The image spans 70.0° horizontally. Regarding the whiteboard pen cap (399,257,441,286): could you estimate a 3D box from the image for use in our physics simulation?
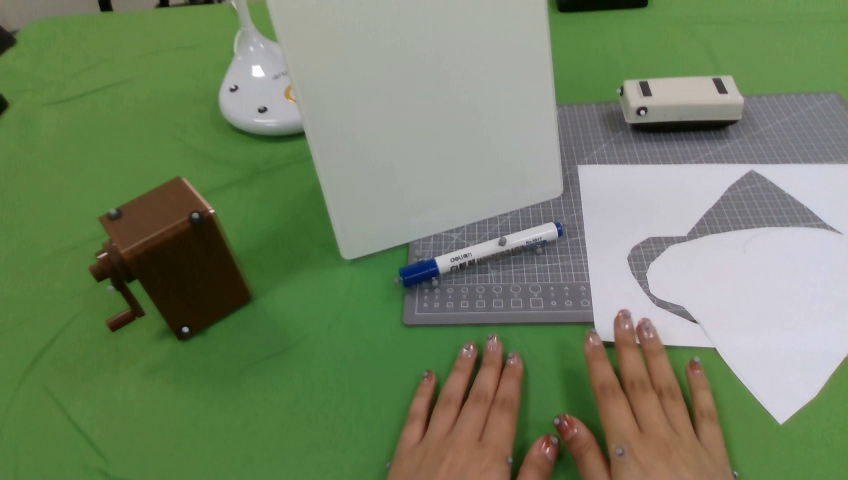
[{"bbox_3d":[-0.003,0.026,0.506,0.033,0.018,0.018,-18,47,-8],"label":"whiteboard pen cap"}]

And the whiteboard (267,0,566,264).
[{"bbox_3d":[-0.014,-0.170,0.541,0.217,0.308,0.142,-17,28,-8],"label":"whiteboard"}]

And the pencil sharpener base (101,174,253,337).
[{"bbox_3d":[-0.194,0.016,0.482,0.076,0.108,0.061,-34,52,-23],"label":"pencil sharpener base"}]

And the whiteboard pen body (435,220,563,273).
[{"bbox_3d":[0.053,0.008,0.515,0.141,0.017,0.017,-17,47,-8],"label":"whiteboard pen body"}]

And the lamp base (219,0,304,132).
[{"bbox_3d":[-0.177,-0.237,0.669,0.177,0.182,0.160,31,57,34],"label":"lamp base"}]

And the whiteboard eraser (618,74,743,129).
[{"bbox_3d":[0.261,-0.142,0.622,0.112,0.042,0.055,0,47,6],"label":"whiteboard eraser"}]

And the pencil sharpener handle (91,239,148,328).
[{"bbox_3d":[-0.233,0.035,0.451,0.030,0.068,0.035,-34,39,-23],"label":"pencil sharpener handle"}]
